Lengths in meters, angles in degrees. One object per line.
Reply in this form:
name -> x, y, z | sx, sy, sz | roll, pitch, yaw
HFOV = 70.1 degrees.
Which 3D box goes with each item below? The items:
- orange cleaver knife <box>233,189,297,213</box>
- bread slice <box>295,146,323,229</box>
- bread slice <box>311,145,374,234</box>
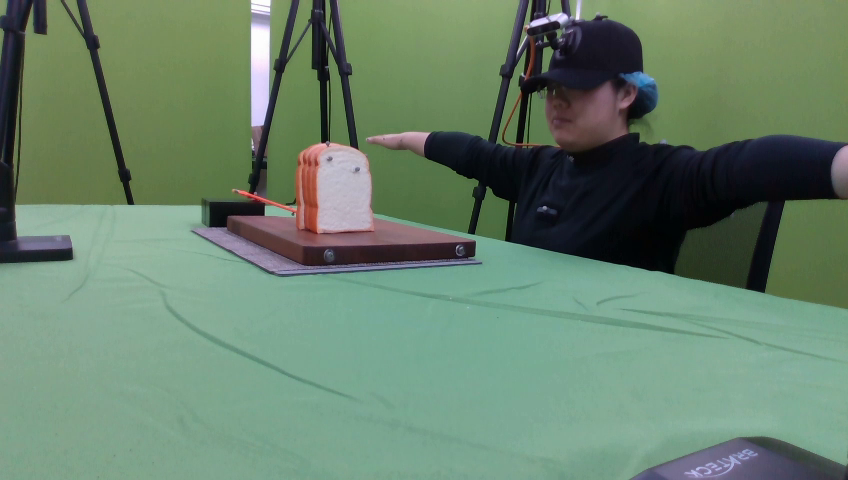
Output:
orange cleaver knife -> -0.279, -0.066, 1.219 | 0.212, 0.012, 0.077 | 19, -3, -21
bread slice -> -0.157, -0.082, 0.959 | 0.105, 0.131, 0.019 | -1, -2, -43
bread slice -> -0.127, -0.076, 0.919 | 0.107, 0.134, 0.018 | -8, 8, -41
